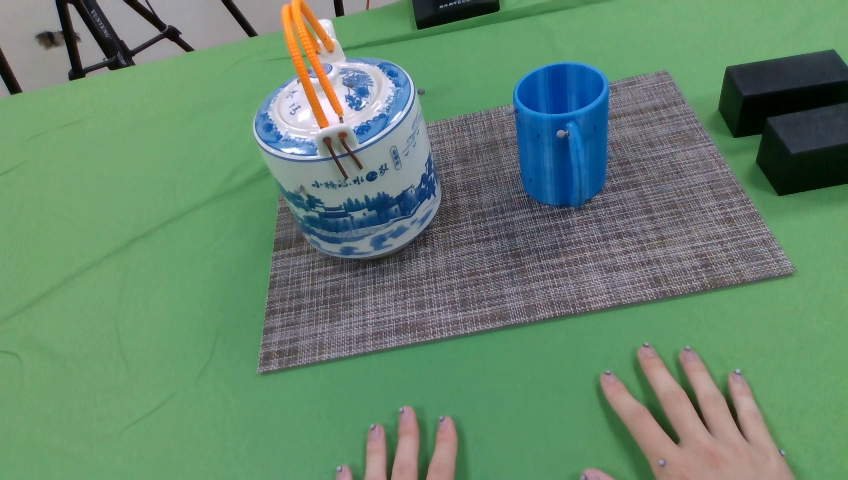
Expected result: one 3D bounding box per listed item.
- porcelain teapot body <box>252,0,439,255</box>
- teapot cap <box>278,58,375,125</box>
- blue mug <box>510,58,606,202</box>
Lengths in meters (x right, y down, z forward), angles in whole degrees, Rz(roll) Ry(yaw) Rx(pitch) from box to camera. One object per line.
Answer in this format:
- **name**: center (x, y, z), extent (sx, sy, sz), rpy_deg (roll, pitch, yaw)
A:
- **porcelain teapot body**: center (-0.079, -0.121, 0.554), extent (0.145, 0.228, 0.203), rpy_deg (-17, 47, 0)
- **teapot cap**: center (-0.083, -0.128, 0.506), extent (0.085, 0.044, 0.084), rpy_deg (-5, 46, 6)
- **blue mug**: center (0.127, -0.090, 0.553), extent (0.082, 0.107, 0.115), rpy_deg (-11, 47, 5)
